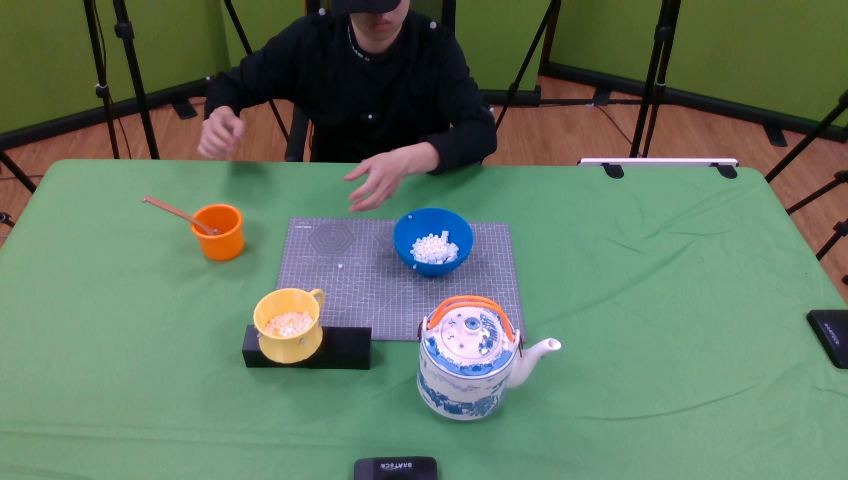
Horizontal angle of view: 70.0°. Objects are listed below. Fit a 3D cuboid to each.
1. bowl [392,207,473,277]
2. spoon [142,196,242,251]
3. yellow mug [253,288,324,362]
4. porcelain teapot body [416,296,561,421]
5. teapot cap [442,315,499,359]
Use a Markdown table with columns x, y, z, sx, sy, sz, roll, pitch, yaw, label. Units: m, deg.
| x | y | z | sx | sy | sz | roll | pitch | yaw | label |
| --- | --- | --- | --- | --- | --- | --- | --- | --- | --- |
| 0.014 | 0.016 | 1.140 | 0.151 | 0.077 | 0.150 | 2 | 46 | -2 | bowl |
| -0.421 | -0.032 | 1.108 | 0.021 | 0.195 | 0.041 | -32 | 40 | 28 | spoon |
| -0.205 | 0.124 | 0.963 | 0.099 | 0.064 | 0.130 | 27 | 49 | 21 | yellow mug |
| 0.094 | 0.164 | 0.907 | 0.205 | 0.226 | 0.144 | 6 | 45 | 1 | porcelain teapot body |
| 0.068 | 0.133 | 0.880 | 0.085 | 0.044 | 0.084 | 4 | 45 | -4 | teapot cap |
